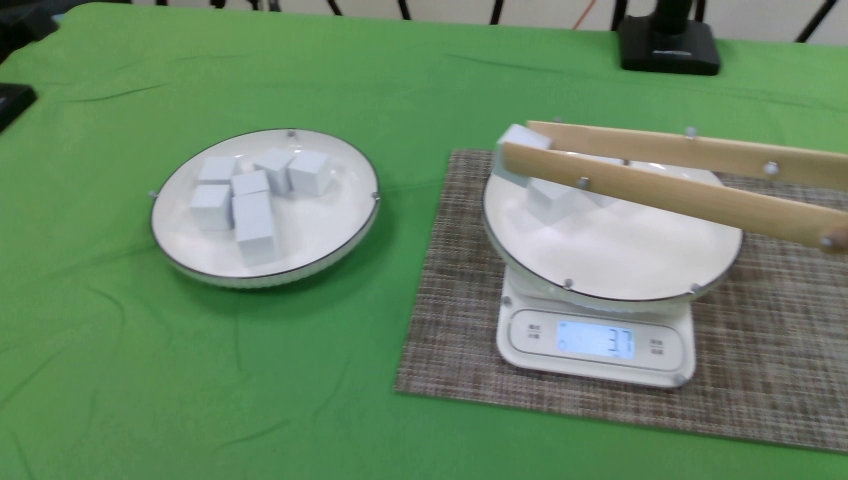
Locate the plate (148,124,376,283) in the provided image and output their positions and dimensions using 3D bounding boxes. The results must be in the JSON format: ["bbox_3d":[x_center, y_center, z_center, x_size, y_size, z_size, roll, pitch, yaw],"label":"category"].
[{"bbox_3d":[-0.148,-0.035,0.577,0.209,0.038,0.207,0,46,1],"label":"plate"}]

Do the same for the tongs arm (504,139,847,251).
[{"bbox_3d":[0.208,-0.016,0.330,0.384,0.028,0.028,18,45,36],"label":"tongs arm"}]

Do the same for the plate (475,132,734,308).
[{"bbox_3d":[0.146,-0.021,0.510,0.208,0.039,0.205,0,47,0],"label":"plate"}]

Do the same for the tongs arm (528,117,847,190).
[{"bbox_3d":[0.223,-0.031,0.343,0.382,0.027,0.050,14,46,33],"label":"tongs arm"}]

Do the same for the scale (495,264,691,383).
[{"bbox_3d":[0.143,0.022,0.515,0.148,0.032,0.199,7,48,8],"label":"scale"}]
